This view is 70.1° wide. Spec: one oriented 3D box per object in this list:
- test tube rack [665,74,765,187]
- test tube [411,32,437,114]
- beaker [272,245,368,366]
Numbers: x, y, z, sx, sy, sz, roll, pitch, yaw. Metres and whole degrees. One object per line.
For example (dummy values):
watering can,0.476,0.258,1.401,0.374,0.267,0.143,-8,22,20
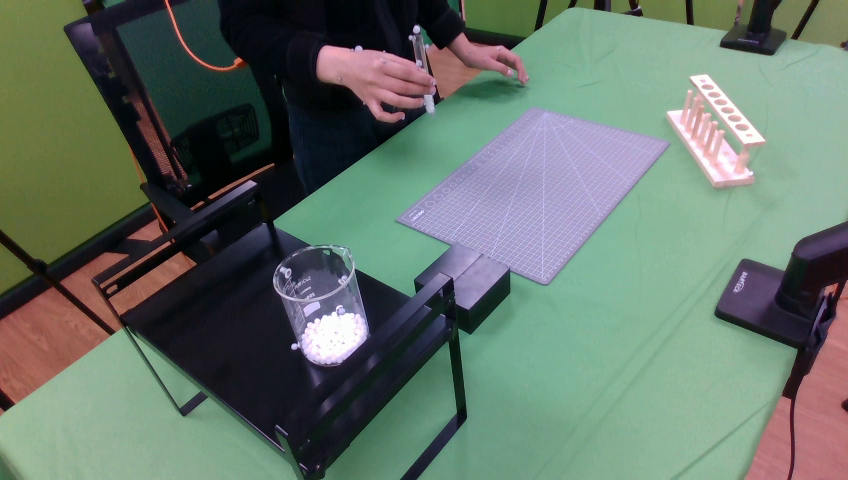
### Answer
test tube rack,0.512,-0.202,1.082,0.067,0.085,0.241,-6,41,2
test tube,0.002,-0.248,0.917,0.017,0.151,0.017,-5,55,8
beaker,-0.093,0.064,0.578,0.073,0.101,0.084,21,48,29
